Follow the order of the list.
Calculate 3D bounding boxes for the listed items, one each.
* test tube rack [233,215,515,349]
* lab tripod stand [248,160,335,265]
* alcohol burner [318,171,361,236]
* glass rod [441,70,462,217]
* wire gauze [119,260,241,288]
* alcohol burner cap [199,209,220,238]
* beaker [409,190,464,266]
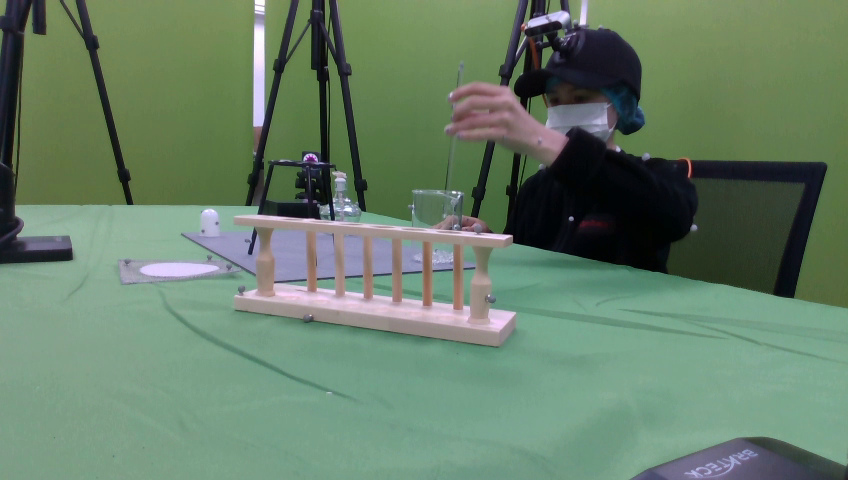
[{"bbox_3d":[-0.045,0.029,0.526,0.241,0.085,0.067,5,8,19],"label":"test tube rack"},{"bbox_3d":[-0.165,-0.041,0.817,0.148,0.131,0.148,5,7,0],"label":"lab tripod stand"},{"bbox_3d":[-0.155,-0.067,1.104,0.078,0.119,0.078,1,8,0],"label":"alcohol burner"},{"bbox_3d":[0.038,-0.129,0.824,0.008,0.199,0.008,6,12,-1],"label":"glass rod"},{"bbox_3d":[-0.288,0.034,0.706,0.122,0.011,0.124,-3,10,-29],"label":"wire gauze"},{"bbox_3d":[-0.356,-0.027,1.002,0.034,0.048,0.034,2,7,0],"label":"alcohol burner cap"},{"bbox_3d":[0.018,-0.017,0.840,0.074,0.100,0.083,-3,10,-35],"label":"beaker"}]
